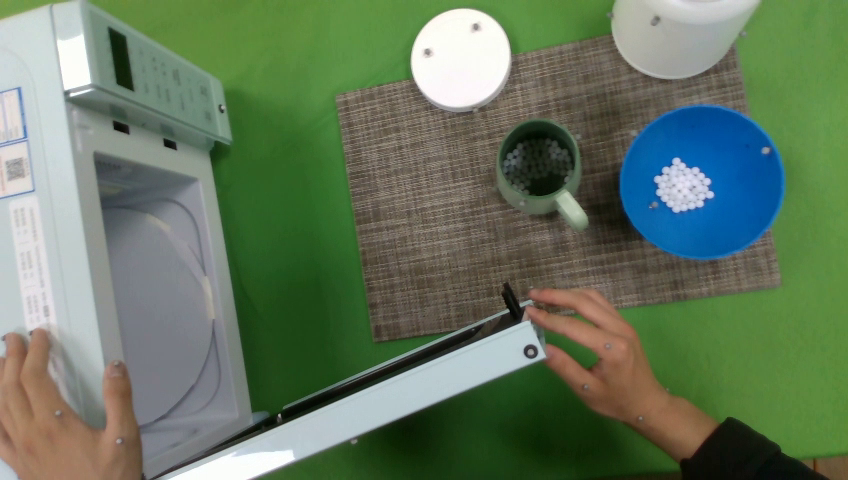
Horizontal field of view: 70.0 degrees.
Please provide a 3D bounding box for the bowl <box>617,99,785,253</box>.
[{"bbox_3d":[0.271,-0.060,0.619,0.151,0.077,0.151,0,89,11],"label":"bowl"}]

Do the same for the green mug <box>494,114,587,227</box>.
[{"bbox_3d":[0.128,-0.067,0.631,0.092,0.105,0.125,-37,83,7],"label":"green mug"}]

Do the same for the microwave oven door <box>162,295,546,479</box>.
[{"bbox_3d":[-0.053,0.146,0.577,0.356,0.244,0.039,-25,83,9],"label":"microwave oven door"}]

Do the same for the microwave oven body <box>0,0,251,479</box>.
[{"bbox_3d":[-0.384,0.038,0.642,0.326,0.261,0.441,-11,87,9],"label":"microwave oven body"}]

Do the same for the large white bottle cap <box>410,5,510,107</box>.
[{"bbox_3d":[0.041,-0.211,0.693,0.114,0.018,0.114,0,88,10],"label":"large white bottle cap"}]

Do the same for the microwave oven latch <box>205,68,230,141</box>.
[{"bbox_3d":[-0.255,-0.161,0.721,0.030,0.029,0.079,-12,87,9],"label":"microwave oven latch"}]

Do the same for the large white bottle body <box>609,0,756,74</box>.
[{"bbox_3d":[0.250,-0.251,0.572,0.130,0.185,0.130,-1,84,11],"label":"large white bottle body"}]
